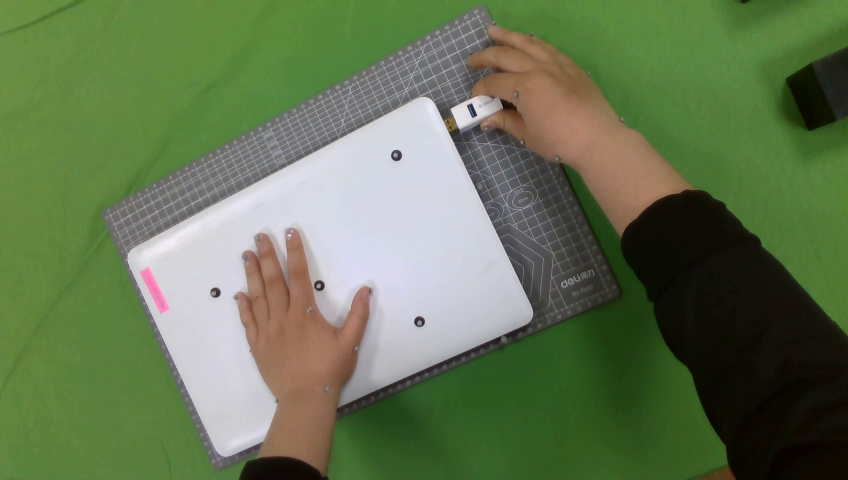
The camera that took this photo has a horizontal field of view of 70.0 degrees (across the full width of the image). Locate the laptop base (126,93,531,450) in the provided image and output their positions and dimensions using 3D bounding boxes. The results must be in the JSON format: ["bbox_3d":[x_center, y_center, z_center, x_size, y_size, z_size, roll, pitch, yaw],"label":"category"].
[{"bbox_3d":[-0.102,0.038,0.598,0.354,0.023,0.235,-26,92,10],"label":"laptop base"}]

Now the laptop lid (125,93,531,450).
[{"bbox_3d":[-0.103,0.040,0.588,0.356,0.013,0.241,-24,91,10],"label":"laptop lid"}]

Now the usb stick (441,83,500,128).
[{"bbox_3d":[0.039,-0.119,0.554,0.059,0.027,0.021,-24,87,9],"label":"usb stick"}]
